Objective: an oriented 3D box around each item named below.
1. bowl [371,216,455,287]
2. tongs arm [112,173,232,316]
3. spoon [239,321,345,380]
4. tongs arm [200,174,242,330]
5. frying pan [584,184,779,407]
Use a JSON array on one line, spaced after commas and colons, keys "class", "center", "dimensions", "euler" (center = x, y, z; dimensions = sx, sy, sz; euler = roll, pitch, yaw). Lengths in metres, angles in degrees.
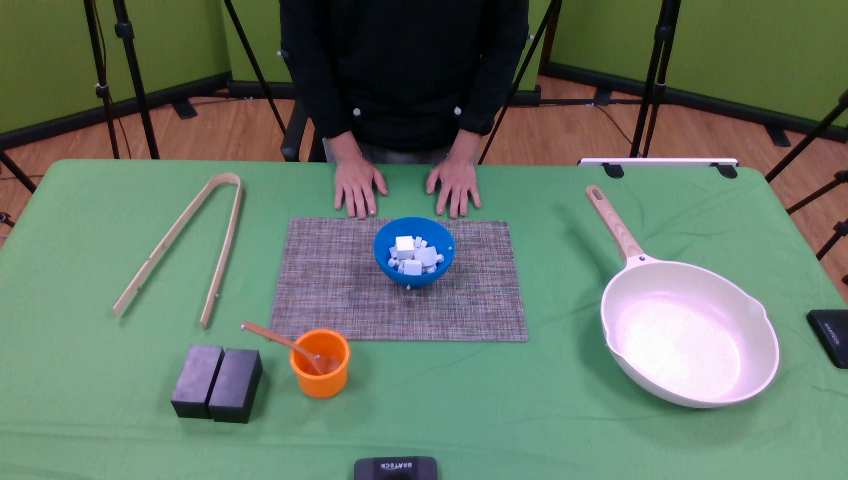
[{"class": "bowl", "center": [-0.022, 0.034, 1.119], "dimensions": [0.151, 0.077, 0.150], "euler": [2, 46, -2]}, {"class": "tongs arm", "center": [-0.467, -0.005, 1.157], "dimensions": [0.051, 0.026, 0.382], "euler": [11, 45, 4]}, {"class": "spoon", "center": [-0.200, 0.168, 0.934], "dimensions": [0.021, 0.195, 0.041], "euler": [-33, 36, 26]}, {"class": "tongs arm", "center": [-0.387, 0.008, 1.158], "dimensions": [0.028, 0.028, 0.385], "euler": [-1, 46, -3]}, {"class": "frying pan", "center": [0.412, 0.079, 1.097], "dimensions": [0.307, 0.103, 0.484], "euler": [-10, 56, -15]}]
